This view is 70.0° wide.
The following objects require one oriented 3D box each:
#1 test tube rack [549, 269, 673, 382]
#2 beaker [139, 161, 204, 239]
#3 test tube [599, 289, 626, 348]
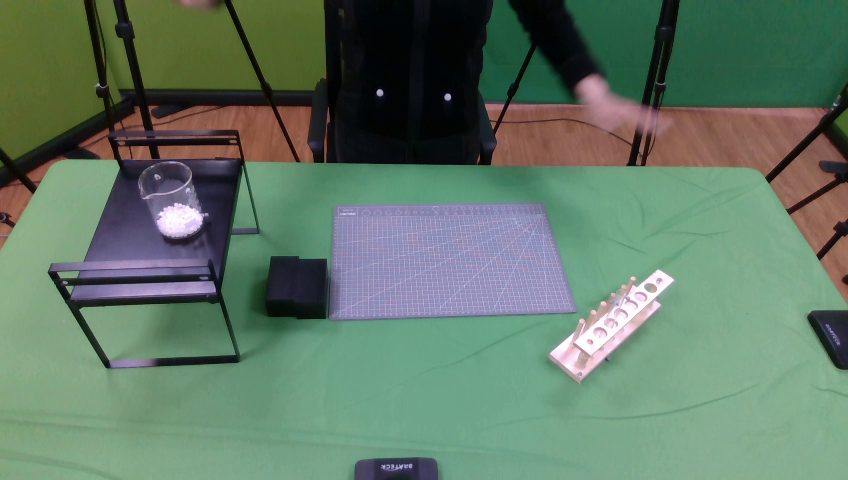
[{"bbox_3d":[0.325,0.134,1.047,0.242,0.085,0.066,-32,56,-30],"label":"test tube rack"},{"bbox_3d":[-0.382,-0.056,0.920,0.074,0.101,0.084,22,49,18],"label":"beaker"},{"bbox_3d":[0.302,0.130,0.982,0.017,0.151,0.017,0,47,0],"label":"test tube"}]
